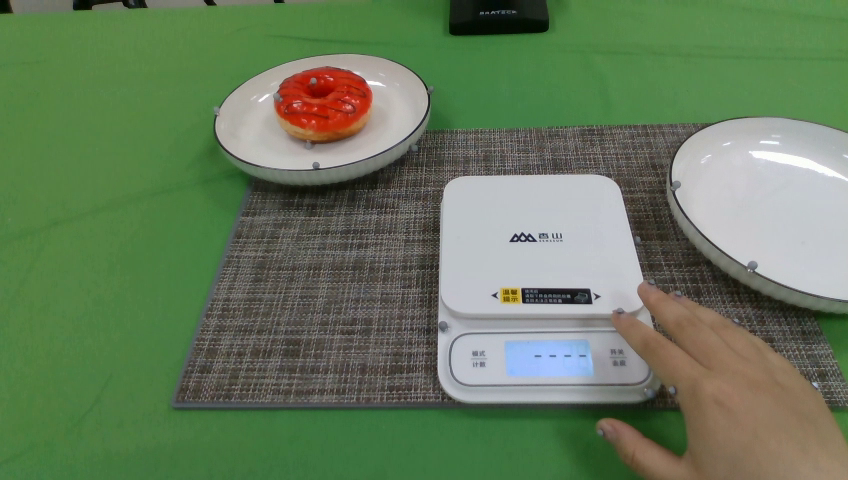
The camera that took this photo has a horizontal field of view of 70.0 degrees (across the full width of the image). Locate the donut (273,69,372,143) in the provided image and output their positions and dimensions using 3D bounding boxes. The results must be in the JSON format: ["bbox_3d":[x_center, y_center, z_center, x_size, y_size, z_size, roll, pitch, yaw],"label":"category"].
[{"bbox_3d":[-0.099,-0.132,0.599,0.099,0.049,0.098,-1,45,2],"label":"donut"}]

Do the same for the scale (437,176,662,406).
[{"bbox_3d":[0.085,0.028,0.453,0.148,0.032,0.199,-1,48,4],"label":"scale"}]

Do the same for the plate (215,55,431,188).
[{"bbox_3d":[-0.097,-0.117,0.598,0.209,0.038,0.207,-3,45,3],"label":"plate"}]

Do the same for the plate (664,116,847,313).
[{"bbox_3d":[0.295,-0.023,0.481,0.208,0.039,0.205,-1,47,1],"label":"plate"}]
